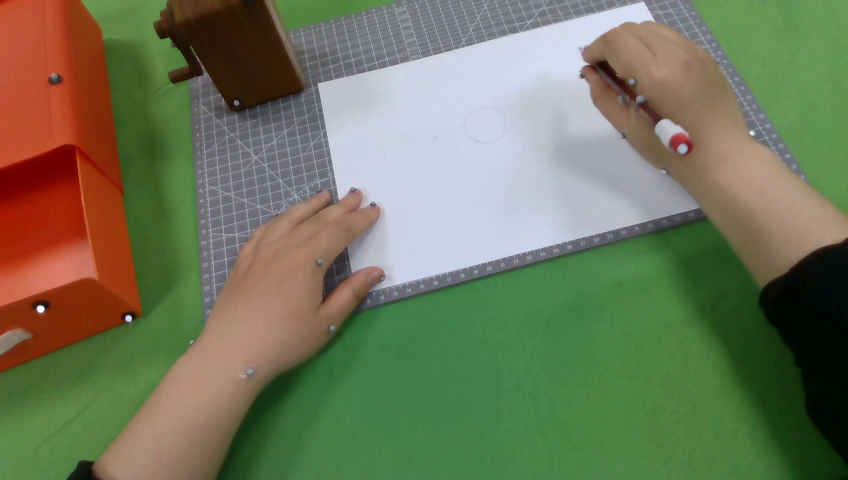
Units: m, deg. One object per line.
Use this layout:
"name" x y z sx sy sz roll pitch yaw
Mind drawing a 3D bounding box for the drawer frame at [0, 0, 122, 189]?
"drawer frame" -0.377 -0.104 0.510 0.202 0.083 0.211 -22 61 -3

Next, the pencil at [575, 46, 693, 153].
"pencil" 0.126 -0.099 0.390 0.012 0.012 0.192 -12 33 2

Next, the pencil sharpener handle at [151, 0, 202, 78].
"pencil sharpener handle" -0.204 -0.159 0.485 0.030 0.068 0.035 -20 59 -2

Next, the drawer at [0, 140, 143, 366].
"drawer" -0.335 -0.009 0.458 0.194 0.074 0.209 -22 62 -4

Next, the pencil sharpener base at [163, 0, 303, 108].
"pencil sharpener base" -0.155 -0.171 0.499 0.077 0.108 0.061 -20 62 -2
